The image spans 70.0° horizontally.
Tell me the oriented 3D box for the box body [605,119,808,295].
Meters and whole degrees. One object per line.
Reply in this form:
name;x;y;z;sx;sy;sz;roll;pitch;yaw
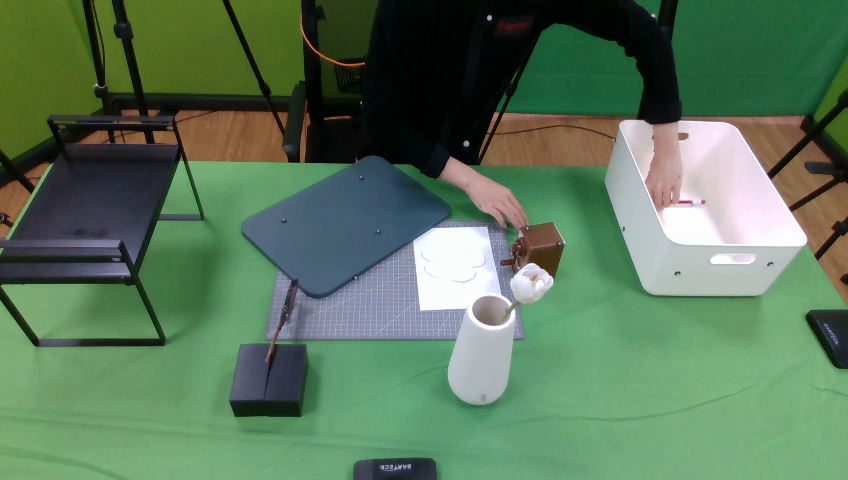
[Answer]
box body;0.529;-0.068;1.205;0.254;0.161;0.361;1;46;-4

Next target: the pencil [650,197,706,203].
pencil;0.512;-0.085;1.309;0.194;0.012;0.012;-2;47;-3

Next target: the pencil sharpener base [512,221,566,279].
pencil sharpener base;0.209;0.026;1.130;0.077;0.107;0.061;-9;48;-12

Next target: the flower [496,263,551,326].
flower;0.102;0.120;0.853;0.044;0.363;0.038;-1;64;-10

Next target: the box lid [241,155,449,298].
box lid;-0.157;-0.043;1.234;0.371;0.015;0.262;-34;56;-31

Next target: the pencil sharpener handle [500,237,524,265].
pencil sharpener handle;0.159;0.024;1.111;0.031;0.068;0.035;-9;54;-12

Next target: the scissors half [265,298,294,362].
scissors half;-0.239;0.143;1.005;0.013;0.040;0.174;17;28;-6

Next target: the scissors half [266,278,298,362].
scissors half;-0.234;0.127;0.993;0.013;0.040;0.174;12;46;-4

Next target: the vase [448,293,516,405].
vase;0.091;0.169;0.921;0.098;0.201;0.097;3;47;-3
